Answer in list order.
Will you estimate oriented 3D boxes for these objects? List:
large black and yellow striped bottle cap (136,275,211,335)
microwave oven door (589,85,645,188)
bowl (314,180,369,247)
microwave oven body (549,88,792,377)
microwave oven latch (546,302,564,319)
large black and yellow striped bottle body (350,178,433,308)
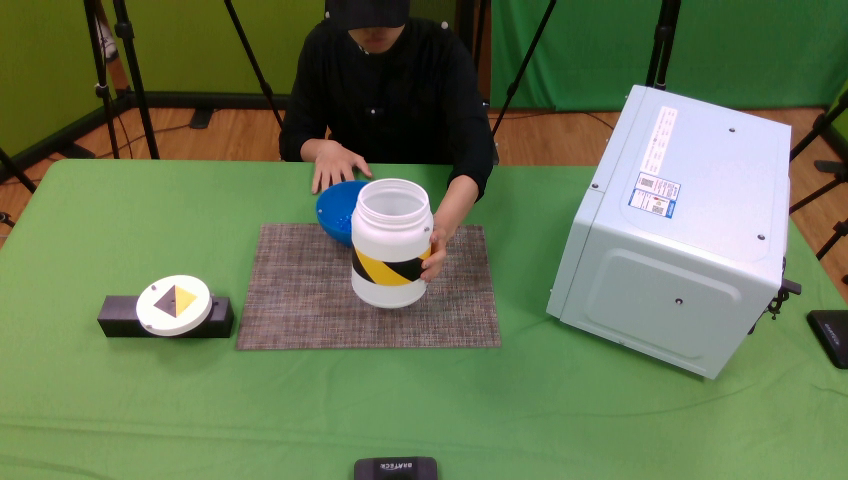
[{"bbox_3d":[-0.412,0.105,0.998,0.115,0.019,0.114,3,46,-3],"label":"large black and yellow striped bottle cap"},{"bbox_3d":[0.341,-0.107,1.149,0.039,0.245,0.354,20,48,15],"label":"microwave oven door"},{"bbox_3d":[-0.135,-0.039,1.181,0.151,0.077,0.150,2,46,-2],"label":"bowl"},{"bbox_3d":[0.456,-0.028,1.088,0.325,0.261,0.440,20,47,16],"label":"microwave oven body"},{"bbox_3d":[0.242,0.102,1.081,0.030,0.029,0.079,21,48,17],"label":"microwave oven latch"},{"bbox_3d":[-0.054,0.005,0.980,0.131,0.185,0.130,3,38,-2],"label":"large black and yellow striped bottle body"}]
